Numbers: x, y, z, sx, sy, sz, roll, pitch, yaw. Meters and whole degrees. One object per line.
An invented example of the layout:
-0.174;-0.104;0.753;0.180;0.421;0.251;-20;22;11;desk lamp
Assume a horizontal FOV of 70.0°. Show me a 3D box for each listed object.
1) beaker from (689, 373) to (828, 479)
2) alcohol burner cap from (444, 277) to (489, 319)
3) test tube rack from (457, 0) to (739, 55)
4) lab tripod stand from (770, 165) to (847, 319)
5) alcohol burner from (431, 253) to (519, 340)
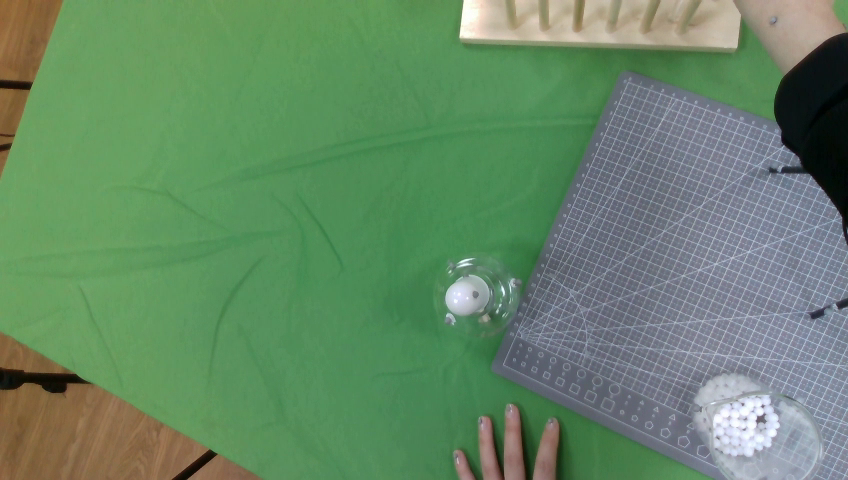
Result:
0.249;0.144;0.472;0.083;0.100;0.074;30;95;13;beaker
0.032;0.047;0.485;0.034;0.048;0.034;0;92;14;alcohol burner cap
0.144;-0.207;0.515;0.241;0.085;0.066;6;90;13;test tube rack
0.327;-0.007;0.440;0.148;0.132;0.148;0;90;12;lab tripod stand
0.041;0.049;0.520;0.078;0.119;0.078;-1;87;12;alcohol burner
